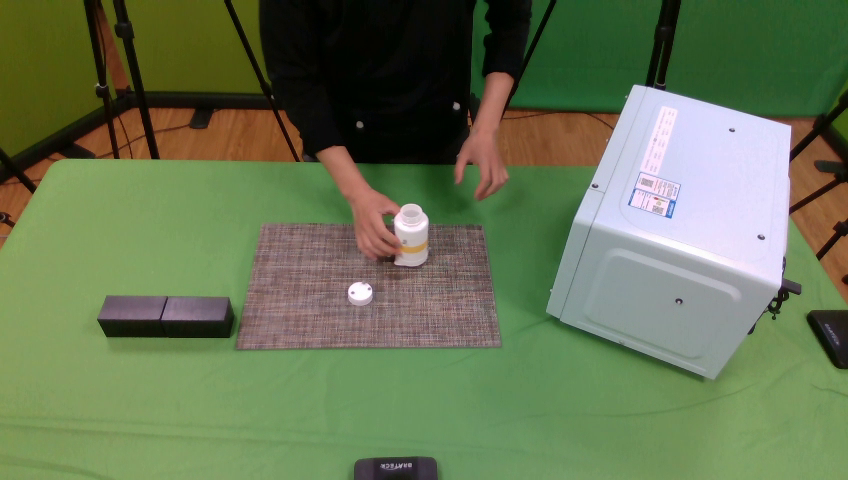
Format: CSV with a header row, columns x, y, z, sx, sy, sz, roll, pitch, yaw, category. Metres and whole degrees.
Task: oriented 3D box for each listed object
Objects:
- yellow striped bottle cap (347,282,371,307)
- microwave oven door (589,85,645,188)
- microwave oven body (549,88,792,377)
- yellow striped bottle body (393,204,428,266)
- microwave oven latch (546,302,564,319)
x,y,z,sx,sy,sz,roll,pitch,yaw,category
-0.117,0.098,1.093,0.044,0.019,0.044,3,45,-3,yellow striped bottle cap
0.341,-0.107,1.149,0.039,0.245,0.354,20,48,15,microwave oven door
0.456,-0.028,1.088,0.325,0.261,0.440,20,47,16,microwave oven body
-0.024,-0.012,1.121,0.063,0.121,0.062,0,47,0,yellow striped bottle body
0.242,0.102,1.081,0.030,0.029,0.079,22,48,17,microwave oven latch
